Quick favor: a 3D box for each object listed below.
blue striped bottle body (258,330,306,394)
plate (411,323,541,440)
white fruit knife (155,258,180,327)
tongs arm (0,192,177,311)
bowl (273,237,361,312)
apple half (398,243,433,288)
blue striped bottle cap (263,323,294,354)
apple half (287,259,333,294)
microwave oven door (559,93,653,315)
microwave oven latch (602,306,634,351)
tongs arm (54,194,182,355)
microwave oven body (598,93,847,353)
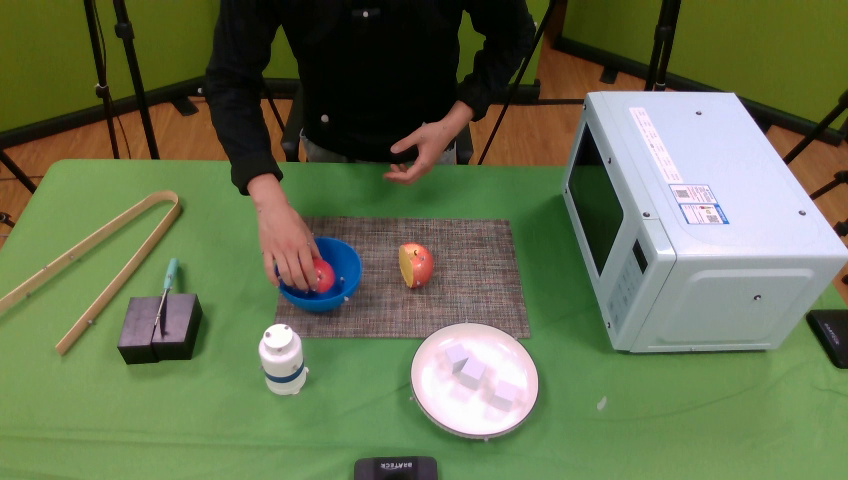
[{"bbox_3d":[-0.220,0.182,0.937,0.063,0.121,0.062,2,46,-2],"label":"blue striped bottle body"},{"bbox_3d":[0.082,0.228,0.976,0.208,0.039,0.206,2,45,-2],"label":"plate"},{"bbox_3d":[-0.440,0.085,1.037,0.016,0.027,0.206,11,26,-19],"label":"white fruit knife"},{"bbox_3d":[-0.618,0.019,1.124,0.050,0.026,0.384,24,47,16],"label":"tongs arm"},{"bbox_3d":[-0.186,0.074,1.069,0.151,0.077,0.150,3,46,-2],"label":"bowl"},{"bbox_3d":[-0.012,0.046,1.115,0.053,0.075,0.080,-11,44,-19],"label":"apple half"},{"bbox_3d":[-0.217,0.146,0.900,0.044,0.021,0.044,1,46,-1],"label":"blue striped bottle cap"},{"bbox_3d":[-0.195,0.054,1.045,0.081,0.033,0.081,6,43,-6],"label":"apple half"},{"bbox_3d":[0.327,-0.074,1.123,0.039,0.245,0.353,-1,46,-5],"label":"microwave oven door"},{"bbox_3d":[0.332,0.153,1.044,0.030,0.029,0.078,-1,45,-4],"label":"microwave oven latch"},{"bbox_3d":[-0.543,0.048,1.107,0.028,0.028,0.385,11,46,10],"label":"tongs arm"},{"bbox_3d":[0.475,-0.041,1.109,0.326,0.261,0.438,-1,45,-4],"label":"microwave oven body"}]
